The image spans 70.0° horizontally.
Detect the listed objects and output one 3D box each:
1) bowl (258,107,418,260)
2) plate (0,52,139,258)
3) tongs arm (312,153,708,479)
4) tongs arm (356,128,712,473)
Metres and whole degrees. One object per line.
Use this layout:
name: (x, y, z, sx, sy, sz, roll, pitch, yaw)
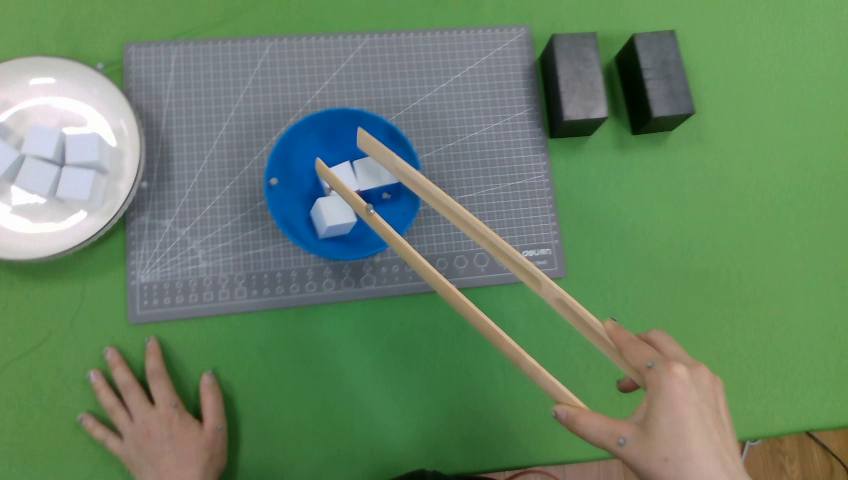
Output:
bowl: (-0.083, -0.048, 0.607, 0.152, 0.077, 0.150, 1, 78, -7)
plate: (-0.387, -0.082, 0.600, 0.208, 0.039, 0.206, 1, 79, -5)
tongs arm: (0.048, 0.047, 0.476, 0.051, 0.027, 0.382, -34, 67, -28)
tongs arm: (0.070, 0.030, 0.490, 0.028, 0.028, 0.385, -35, 68, -32)
